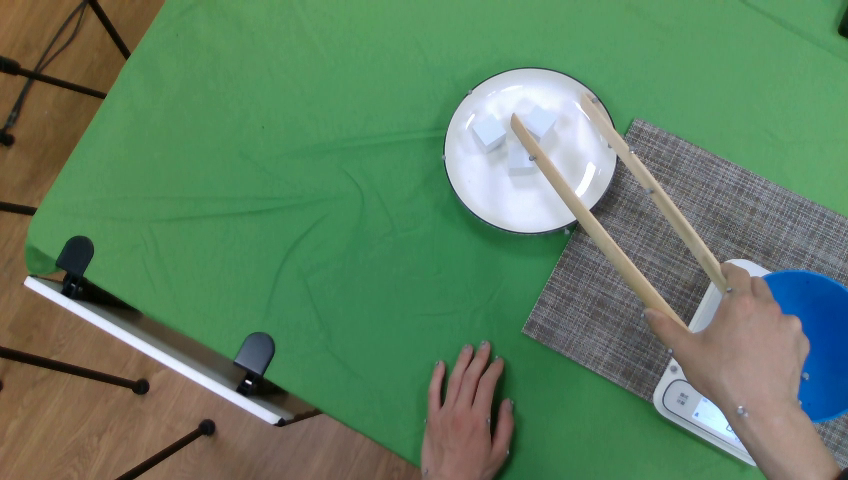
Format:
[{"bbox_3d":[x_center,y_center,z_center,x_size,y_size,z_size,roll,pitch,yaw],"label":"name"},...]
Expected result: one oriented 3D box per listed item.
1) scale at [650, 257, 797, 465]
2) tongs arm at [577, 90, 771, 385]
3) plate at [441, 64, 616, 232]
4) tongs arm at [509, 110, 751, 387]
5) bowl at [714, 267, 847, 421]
[{"bbox_3d":[0.362,0.133,0.678,0.148,0.032,0.200,29,84,9],"label":"scale"},{"bbox_3d":[0.228,-0.030,0.617,0.051,0.027,0.380,-16,52,-10],"label":"tongs arm"},{"bbox_3d":[0.125,-0.110,0.738,0.207,0.039,0.207,-1,81,4],"label":"plate"},{"bbox_3d":[0.179,-0.015,0.610,0.028,0.028,0.383,-18,51,-15],"label":"tongs arm"},{"bbox_3d":[0.367,0.106,0.628,0.151,0.077,0.151,-1,81,4],"label":"bowl"}]
